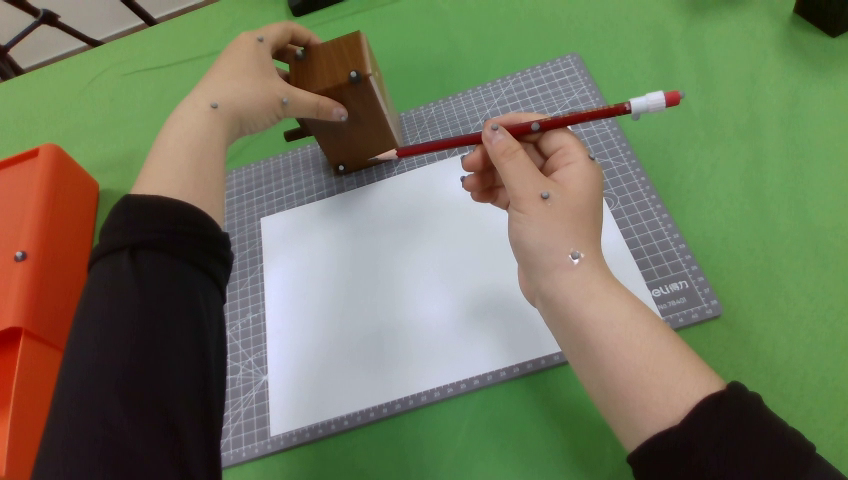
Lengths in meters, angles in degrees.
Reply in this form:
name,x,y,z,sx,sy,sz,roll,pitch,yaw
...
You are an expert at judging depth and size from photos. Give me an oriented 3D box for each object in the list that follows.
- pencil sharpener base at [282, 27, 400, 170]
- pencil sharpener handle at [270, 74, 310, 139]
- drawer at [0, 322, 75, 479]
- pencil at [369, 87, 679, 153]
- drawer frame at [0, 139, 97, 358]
name,x,y,z,sx,sy,sz,roll,pitch,yaw
pencil sharpener base,-0.073,-0.122,0.545,0.076,0.108,0.060,-17,55,6
pencil sharpener handle,-0.125,-0.115,0.541,0.030,0.068,0.035,-17,60,6
drawer,-0.397,0.127,0.500,0.194,0.074,0.209,-19,55,4
pencil,0.058,-0.073,0.380,0.194,0.012,0.012,-9,56,10
drawer frame,-0.424,0.034,0.565,0.201,0.083,0.211,-19,54,4
